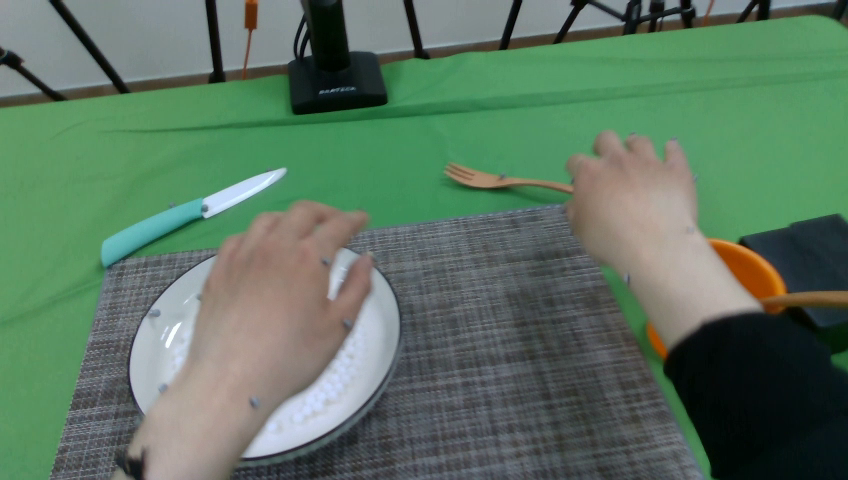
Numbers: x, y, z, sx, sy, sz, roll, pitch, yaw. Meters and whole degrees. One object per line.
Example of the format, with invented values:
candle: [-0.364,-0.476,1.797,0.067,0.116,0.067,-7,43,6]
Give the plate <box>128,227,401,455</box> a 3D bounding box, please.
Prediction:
plate: [-0.121,0.075,0.483,0.209,0.038,0.207,-1,46,1]

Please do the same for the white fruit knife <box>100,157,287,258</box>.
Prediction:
white fruit knife: [-0.229,-0.041,0.617,0.207,0.016,0.027,-32,77,-30]

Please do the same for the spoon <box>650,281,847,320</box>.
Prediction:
spoon: [0.248,0.040,0.434,0.041,0.193,0.022,-38,101,-30]

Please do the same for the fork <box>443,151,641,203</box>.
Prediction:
fork: [0.119,-0.064,0.626,0.206,0.019,0.028,12,43,15]
